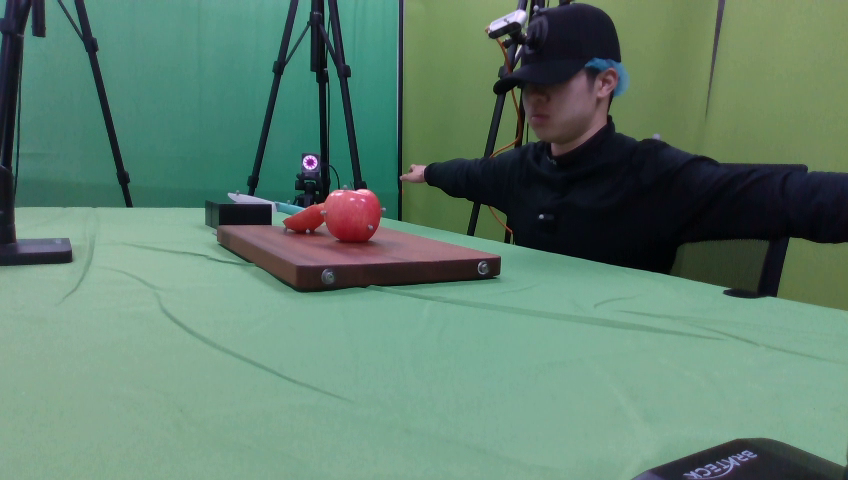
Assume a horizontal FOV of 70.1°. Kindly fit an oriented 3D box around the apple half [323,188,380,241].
[{"bbox_3d":[-0.094,-0.034,0.840,0.081,0.074,0.053,1,10,-38],"label":"apple half"}]

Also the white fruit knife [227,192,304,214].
[{"bbox_3d":[-0.302,-0.069,1.242,0.208,0.027,0.016,14,2,-37],"label":"white fruit knife"}]

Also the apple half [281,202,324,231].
[{"bbox_3d":[-0.175,-0.033,0.927,0.081,0.033,0.081,-21,1,1],"label":"apple half"}]
